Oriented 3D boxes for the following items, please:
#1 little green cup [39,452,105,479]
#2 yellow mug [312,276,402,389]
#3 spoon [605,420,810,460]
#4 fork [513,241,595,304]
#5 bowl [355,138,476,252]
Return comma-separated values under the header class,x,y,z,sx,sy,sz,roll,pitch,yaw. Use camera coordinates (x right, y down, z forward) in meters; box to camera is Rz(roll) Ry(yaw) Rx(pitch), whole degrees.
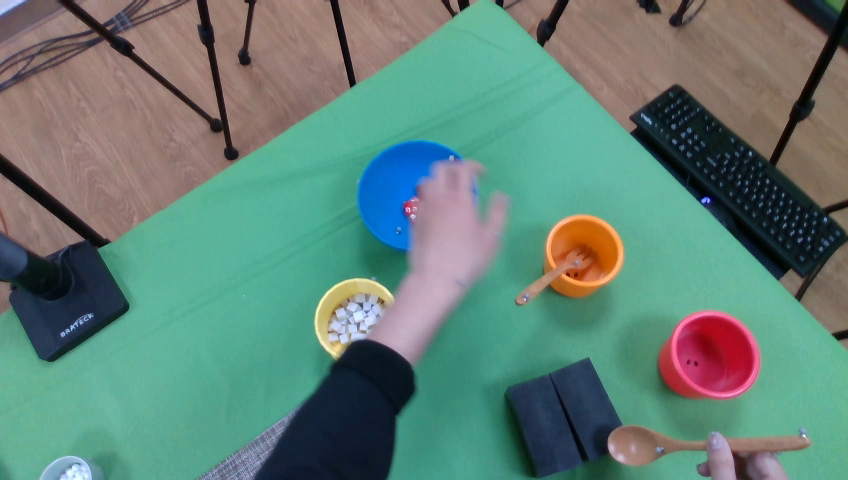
class,x,y,z,sx,sy,sz,roll,pitch,yaw
little green cup,-0.400,0.276,0.693,0.061,0.039,0.061,-1,69,2
yellow mug,-0.082,0.115,0.728,0.100,0.064,0.130,10,71,6
spoon,0.260,0.191,0.577,0.022,0.193,0.041,4,74,-39
fork,0.154,0.035,0.705,0.028,0.019,0.208,45,33,16
bowl,-0.009,-0.046,0.779,0.151,0.077,0.150,0,71,2
